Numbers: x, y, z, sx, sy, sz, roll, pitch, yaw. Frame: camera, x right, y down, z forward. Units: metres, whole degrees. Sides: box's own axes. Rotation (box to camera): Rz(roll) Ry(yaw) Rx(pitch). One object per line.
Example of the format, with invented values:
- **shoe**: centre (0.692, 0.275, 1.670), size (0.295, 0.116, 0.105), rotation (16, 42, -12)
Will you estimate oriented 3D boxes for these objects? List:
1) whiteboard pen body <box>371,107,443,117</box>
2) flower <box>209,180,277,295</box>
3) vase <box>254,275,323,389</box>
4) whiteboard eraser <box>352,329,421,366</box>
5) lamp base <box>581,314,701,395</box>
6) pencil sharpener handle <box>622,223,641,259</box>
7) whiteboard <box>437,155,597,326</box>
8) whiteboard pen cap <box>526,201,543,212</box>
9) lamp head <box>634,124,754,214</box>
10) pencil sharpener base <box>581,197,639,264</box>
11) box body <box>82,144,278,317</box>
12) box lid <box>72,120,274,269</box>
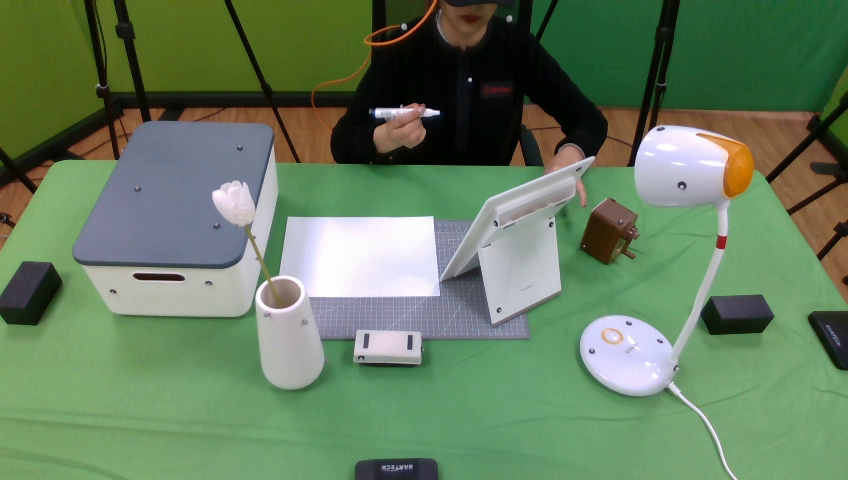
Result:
- **whiteboard pen body**: centre (-0.032, -0.247, 1.170), size (0.140, 0.017, 0.017), rotation (0, 45, 10)
- **flower**: centre (-0.217, 0.075, 0.871), size (0.044, 0.363, 0.038), rotation (-28, 36, -19)
- **vase**: centre (-0.209, 0.143, 0.921), size (0.098, 0.201, 0.097), rotation (1, 46, -1)
- **whiteboard eraser**: centre (-0.061, 0.179, 1.005), size (0.113, 0.042, 0.055), rotation (3, 48, -3)
- **lamp base**: centre (0.361, 0.144, 0.973), size (0.178, 0.181, 0.160), rotation (34, 53, 23)
- **pencil sharpener handle**: centre (0.397, 0.002, 1.146), size (0.030, 0.068, 0.036), rotation (37, 45, 27)
- **whiteboard**: centre (0.180, 0.023, 1.029), size (0.217, 0.306, 0.143), rotation (-22, 71, -23)
- **whiteboard pen cap**: centre (0.233, -0.072, 1.284), size (0.033, 0.018, 0.018), rotation (16, 47, 0)
- **lamp head**: centre (0.351, -0.089, 0.776), size (0.112, 0.113, 0.122), rotation (-30, 30, -28)
- **pencil sharpener base**: centre (0.362, -0.017, 1.179), size (0.076, 0.107, 0.061), rotation (37, 54, 27)
- **box body**: centre (-0.421, -0.041, 1.108), size (0.254, 0.161, 0.361), rotation (2, 46, -3)
- **box lid**: centre (-0.417, -0.094, 1.056), size (0.263, 0.015, 0.369), rotation (1, 47, -3)
